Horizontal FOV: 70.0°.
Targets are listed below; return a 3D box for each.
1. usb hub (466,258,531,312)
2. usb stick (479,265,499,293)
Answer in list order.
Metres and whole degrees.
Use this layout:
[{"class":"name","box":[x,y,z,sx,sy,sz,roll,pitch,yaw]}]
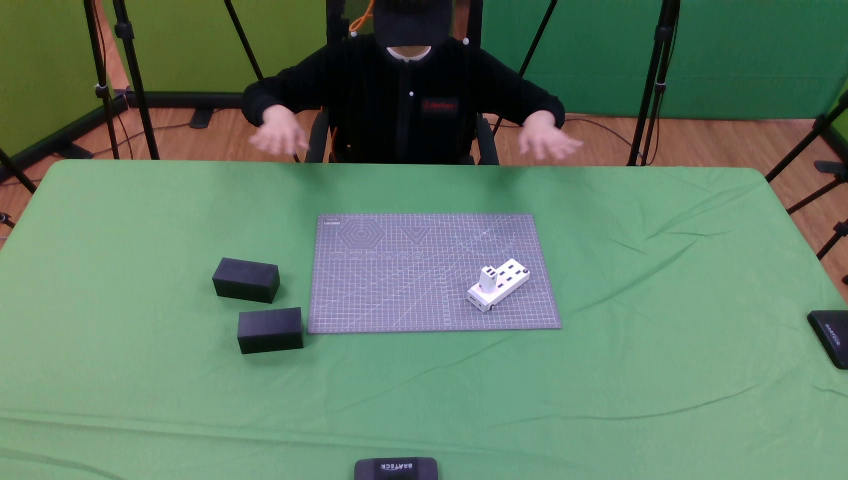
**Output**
[{"class":"usb hub","box":[0.139,0.083,1.120,0.125,0.025,0.049,-32,56,-30]},{"class":"usb stick","box":[0.115,0.074,1.084,0.021,0.059,0.027,-34,60,-31]}]
